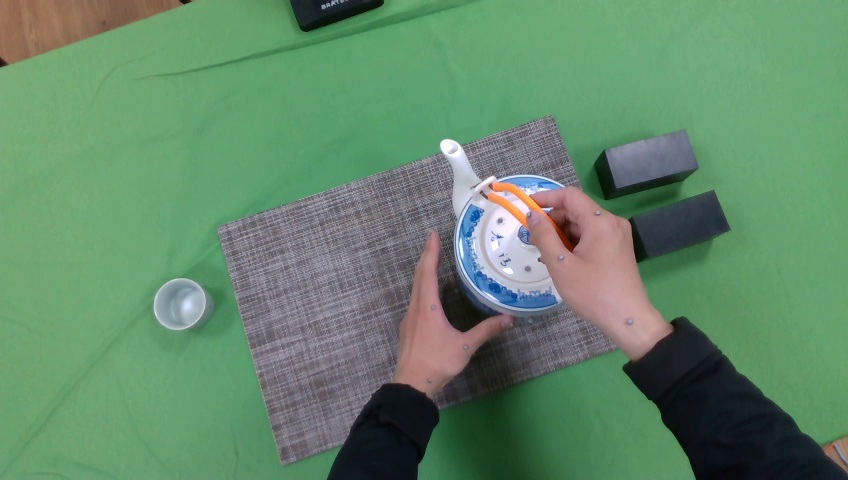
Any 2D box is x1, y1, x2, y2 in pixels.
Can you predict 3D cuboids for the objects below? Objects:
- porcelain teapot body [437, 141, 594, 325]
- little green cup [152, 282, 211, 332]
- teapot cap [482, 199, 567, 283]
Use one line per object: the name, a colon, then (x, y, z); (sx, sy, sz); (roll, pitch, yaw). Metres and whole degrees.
porcelain teapot body: (0.081, -0.013, 0.636); (0.145, 0.226, 0.204); (-41, 79, -6)
little green cup: (-0.289, 0.082, 0.729); (0.061, 0.039, 0.061); (-1, 78, 3)
teapot cap: (0.099, -0.001, 0.593); (0.085, 0.044, 0.084); (0, 76, 2)
